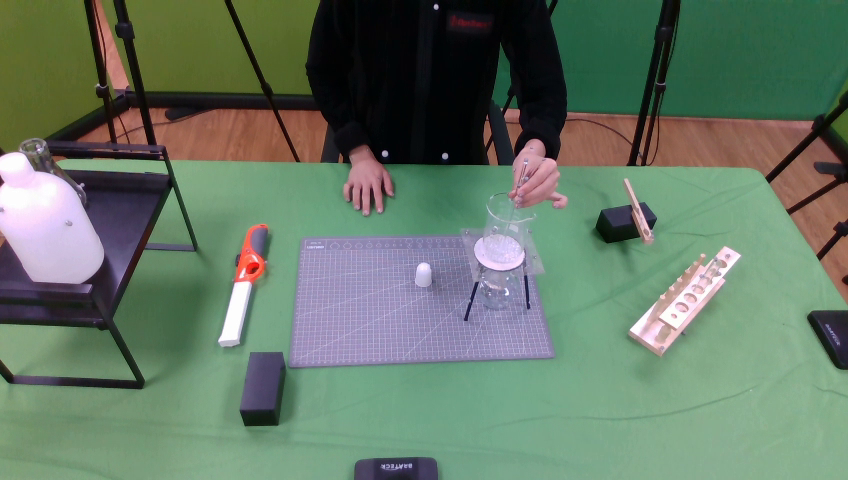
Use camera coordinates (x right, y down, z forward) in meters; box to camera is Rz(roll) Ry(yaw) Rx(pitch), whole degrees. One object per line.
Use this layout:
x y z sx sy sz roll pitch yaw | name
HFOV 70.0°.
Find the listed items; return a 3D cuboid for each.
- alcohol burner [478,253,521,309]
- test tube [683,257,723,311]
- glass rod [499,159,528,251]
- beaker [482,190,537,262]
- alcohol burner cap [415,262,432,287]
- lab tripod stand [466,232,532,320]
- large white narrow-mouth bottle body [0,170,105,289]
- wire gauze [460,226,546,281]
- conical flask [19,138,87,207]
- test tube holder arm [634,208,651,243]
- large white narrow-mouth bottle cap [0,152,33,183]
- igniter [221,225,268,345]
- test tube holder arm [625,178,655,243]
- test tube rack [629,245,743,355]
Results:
0.134 0.067 1.072 0.078 0.120 0.077 0 47 0 | alcohol burner
0.475 0.080 1.037 0.017 0.151 0.017 1 51 -1 | test tube
0.136 -0.049 0.933 0.008 0.200 0.008 3 49 -4 | glass rod
0.136 -0.019 0.983 0.084 0.101 0.073 17 47 14 | beaker
0.000 0.061 1.119 0.034 0.048 0.033 2 45 -2 | alcohol burner cap
0.125 0.060 1.065 0.148 0.132 0.147 1 45 0 | lab tripod stand
-0.513 -0.029 0.818 0.102 0.195 0.101 2 46 -2 | large white narrow-mouth bottle body
0.130 0.017 1.016 0.121 0.011 0.124 -4 43 -9 | wire gauze
-0.576 -0.097 0.930 0.075 0.122 0.075 2 46 -2 | conical flask
0.428 -0.030 1.189 0.010 0.015 0.087 3 47 -3 | test tube holder arm
-0.510 -0.090 0.754 0.038 0.024 0.037 2 46 -2 | large white narrow-mouth bottle cap
-0.323 0.072 1.100 0.057 0.025 0.274 -6 45 5 | igniter
0.434 -0.063 1.220 0.013 0.015 0.177 3 47 -4 | test tube holder arm
0.474 0.095 1.091 0.242 0.085 0.066 -34 56 -31 | test tube rack
